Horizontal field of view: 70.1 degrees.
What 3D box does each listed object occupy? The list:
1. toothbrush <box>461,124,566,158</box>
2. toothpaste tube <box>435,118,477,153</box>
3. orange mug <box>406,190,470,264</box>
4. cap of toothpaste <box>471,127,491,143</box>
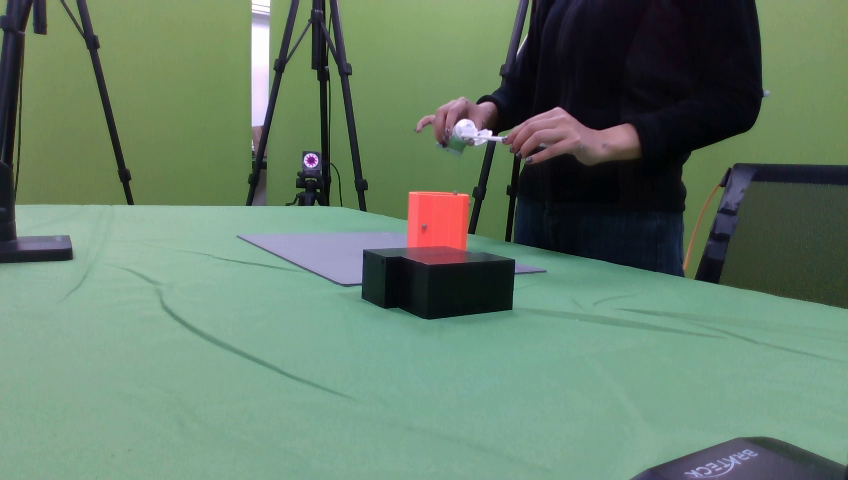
[{"bbox_3d":[0.134,-0.153,0.933,0.181,0.014,0.017,21,28,30],"label":"toothbrush"},{"bbox_3d":[0.062,-0.182,1.069,0.055,0.034,0.165,26,-8,-8],"label":"toothpaste tube"},{"bbox_3d":[0.027,-0.023,0.866,0.083,0.101,0.126,6,13,24],"label":"orange mug"},{"bbox_3d":[0.092,-0.172,0.985,0.037,0.011,0.037,-28,28,17],"label":"cap of toothpaste"}]
